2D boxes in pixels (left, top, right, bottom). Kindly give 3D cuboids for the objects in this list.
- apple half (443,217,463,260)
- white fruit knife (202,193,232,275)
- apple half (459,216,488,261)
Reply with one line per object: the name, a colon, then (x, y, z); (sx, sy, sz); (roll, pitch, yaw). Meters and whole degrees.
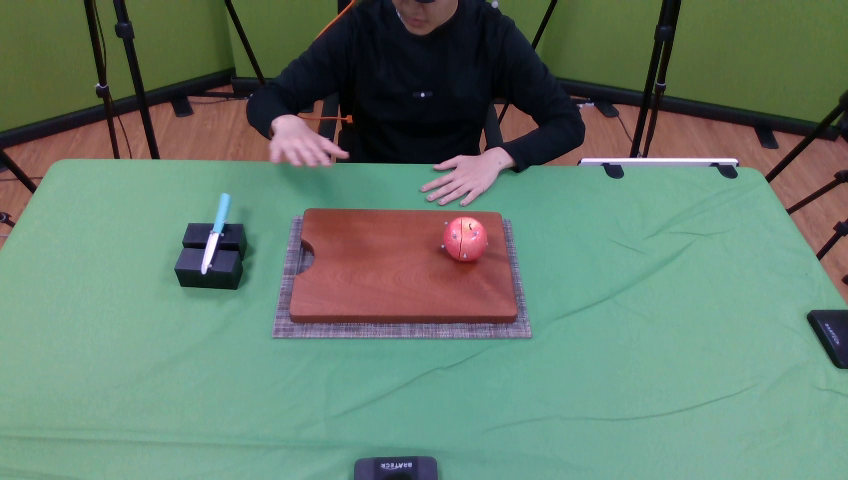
apple half: (0.052, -0.001, 1.123); (0.033, 0.081, 0.081); (4, 46, -3)
white fruit knife: (-0.383, -0.015, 1.119); (0.027, 0.016, 0.206); (-19, 45, 18)
apple half: (0.091, 0.000, 1.126); (0.053, 0.075, 0.080); (5, 42, -5)
